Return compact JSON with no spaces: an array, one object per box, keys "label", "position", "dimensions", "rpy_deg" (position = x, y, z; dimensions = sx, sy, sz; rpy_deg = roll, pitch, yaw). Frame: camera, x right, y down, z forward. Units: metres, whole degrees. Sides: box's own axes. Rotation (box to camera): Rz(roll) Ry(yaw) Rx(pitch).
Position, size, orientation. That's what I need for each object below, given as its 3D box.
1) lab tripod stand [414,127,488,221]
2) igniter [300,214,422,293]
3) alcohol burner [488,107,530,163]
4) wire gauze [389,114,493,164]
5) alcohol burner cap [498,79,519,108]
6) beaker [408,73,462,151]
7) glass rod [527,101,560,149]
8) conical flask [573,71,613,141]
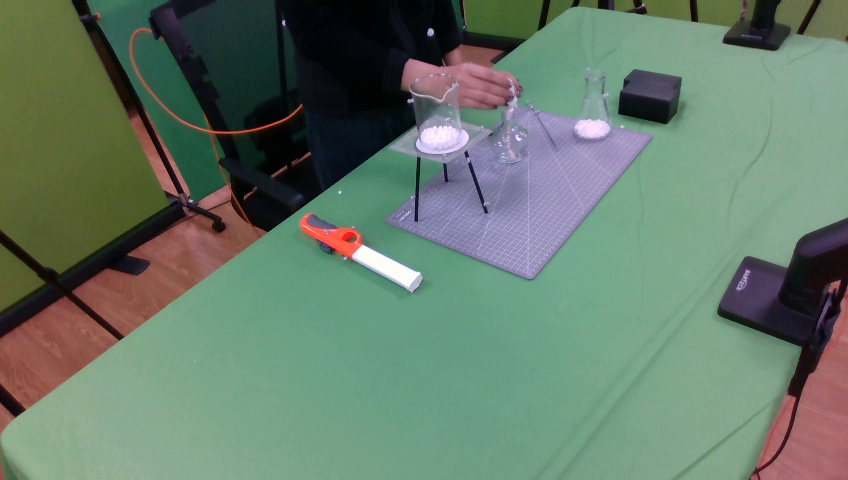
[{"label":"lab tripod stand","position":[0.035,-0.114,1.021],"dimensions":[0.148,0.132,0.147],"rpy_deg":[-7,39,6]},{"label":"igniter","position":[-0.113,0.016,0.983],"dimensions":[0.274,0.025,0.057],"rpy_deg":[26,62,35]},{"label":"alcohol burner","position":[0.157,-0.204,1.119],"dimensions":[0.078,0.119,0.077],"rpy_deg":[-5,38,4]},{"label":"wire gauze","position":[0.027,-0.163,0.978],"dimensions":[0.120,0.011,0.125],"rpy_deg":[22,50,36]},{"label":"alcohol burner cap","position":[0.146,-0.260,1.065],"dimensions":[0.034,0.048,0.033],"rpy_deg":[-12,44,12]},{"label":"beaker","position":[0.021,-0.196,0.943],"dimensions":[0.074,0.101,0.083],"rpy_deg":[-17,39,-7]},{"label":"glass rod","position":[0.240,-0.236,1.223],"dimensions":[0.008,0.008,0.198],"rpy_deg":[-12,40,-2]},{"label":"conical flask","position":[0.321,-0.256,1.142],"dimensions":[0.075,0.122,0.075],"rpy_deg":[-5,40,5]}]
